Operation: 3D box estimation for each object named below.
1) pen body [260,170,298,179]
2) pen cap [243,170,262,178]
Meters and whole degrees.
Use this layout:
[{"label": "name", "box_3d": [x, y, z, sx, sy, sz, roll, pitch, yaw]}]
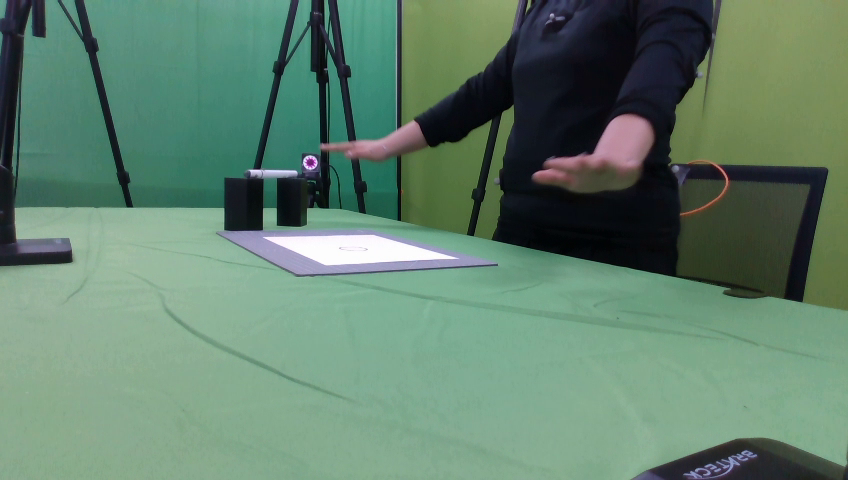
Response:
[{"label": "pen body", "box_3d": [-0.301, -0.131, 1.211, 0.017, 0.017, 0.144, 6, 8, 24]}, {"label": "pen cap", "box_3d": [-0.328, -0.126, 1.154, 0.017, 0.017, 0.038, 6, 10, 22]}]
